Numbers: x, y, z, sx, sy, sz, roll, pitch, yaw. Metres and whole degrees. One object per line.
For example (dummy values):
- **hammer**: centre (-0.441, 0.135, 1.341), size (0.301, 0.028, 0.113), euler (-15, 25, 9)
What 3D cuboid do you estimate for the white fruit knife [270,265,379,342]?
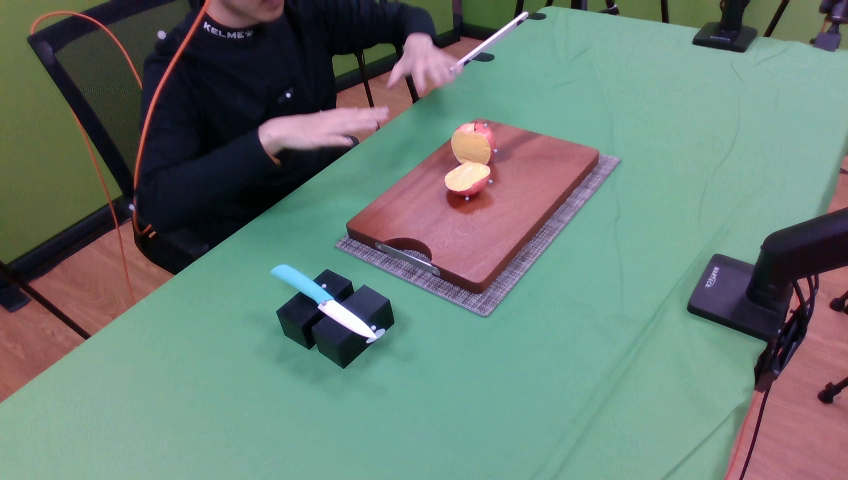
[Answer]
- **white fruit knife**: centre (-0.136, 0.084, 0.823), size (0.206, 0.016, 0.027), euler (30, 64, 30)

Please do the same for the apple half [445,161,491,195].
- **apple half**: centre (0.076, -0.099, 1.020), size (0.081, 0.033, 0.081), euler (-16, 36, 12)

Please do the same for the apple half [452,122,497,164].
- **apple half**: centre (0.095, -0.173, 1.073), size (0.080, 0.075, 0.053), euler (13, 40, 28)
